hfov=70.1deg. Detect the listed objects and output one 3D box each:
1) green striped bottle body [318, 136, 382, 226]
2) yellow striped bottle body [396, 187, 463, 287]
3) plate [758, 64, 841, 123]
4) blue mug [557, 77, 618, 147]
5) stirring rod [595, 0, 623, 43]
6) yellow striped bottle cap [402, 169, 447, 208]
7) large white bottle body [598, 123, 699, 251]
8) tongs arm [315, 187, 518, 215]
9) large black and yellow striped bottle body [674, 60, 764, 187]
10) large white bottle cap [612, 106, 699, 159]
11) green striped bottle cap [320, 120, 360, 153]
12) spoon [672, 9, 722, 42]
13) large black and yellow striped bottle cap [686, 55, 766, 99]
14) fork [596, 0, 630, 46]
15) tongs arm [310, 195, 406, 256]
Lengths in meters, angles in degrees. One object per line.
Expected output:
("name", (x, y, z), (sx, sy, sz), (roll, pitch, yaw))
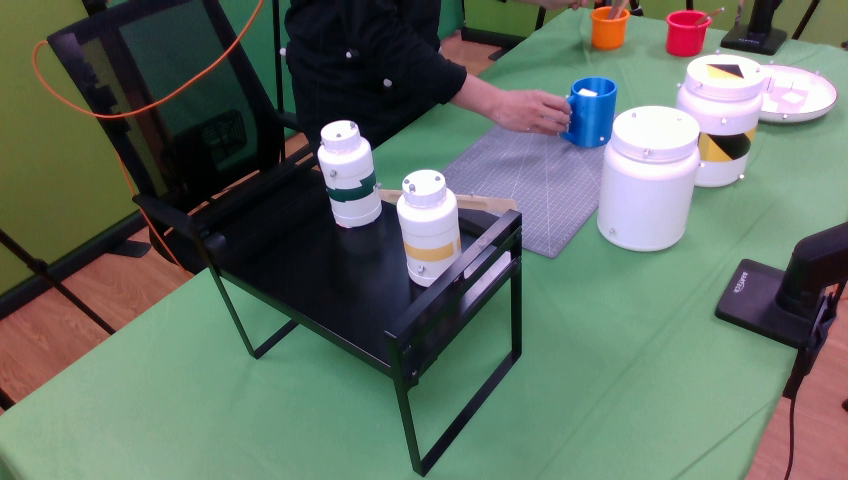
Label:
("green striped bottle body", (-0.090, -0.080, 0.733), (0.063, 0.120, 0.063), (-5, 41, 4))
("yellow striped bottle body", (0.006, -0.013, 0.638), (0.063, 0.121, 0.062), (-5, 41, 5))
("plate", (0.694, -0.283, 1.189), (0.207, 0.039, 0.206), (-4, 40, 4))
("blue mug", (0.303, -0.237, 1.139), (0.117, 0.106, 0.081), (-20, 42, -13))
("stirring rod", (0.460, -0.556, 1.459), (0.014, 0.006, 0.176), (29, 93, 22))
("yellow striped bottle cap", (0.000, -0.052, 0.605), (0.044, 0.019, 0.044), (-5, 43, 5))
("large white bottle body", (0.334, -0.090, 0.906), (0.130, 0.185, 0.130), (-5, 41, 5))
("tongs arm", (-0.028, -0.060, 0.988), (0.382, 0.027, 0.051), (10, 45, 36))
("large black and yellow striped bottle body", (0.482, -0.196, 1.008), (0.131, 0.185, 0.130), (-4, 41, 4))
("large white bottle cap", (0.325, -0.153, 0.850), (0.115, 0.018, 0.114), (-4, 41, 4))
("green striped bottle cap", (-0.097, -0.120, 0.699), (0.044, 0.020, 0.044), (-3, 41, 3))
("spoon", (0.606, -0.476, 1.345), (0.042, 0.021, 0.193), (-6, -3, -2))
("large black and yellow striped bottle cap", (0.474, -0.258, 0.952), (0.115, 0.019, 0.114), (-5, 41, 5))
("fork", (0.480, -0.556, 1.452), (0.028, 0.019, 0.207), (40, 103, 41))
("tongs arm", (-0.078, -0.013, 0.944), (0.028, 0.028, 0.384), (-42, 39, -23))
